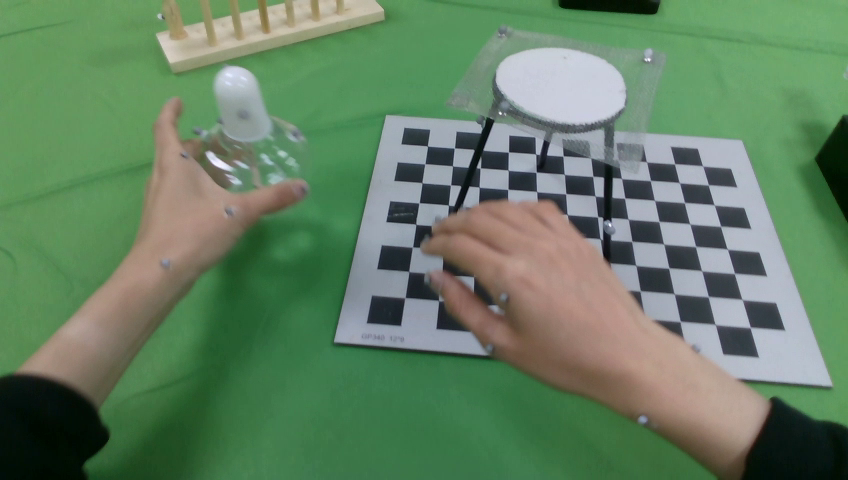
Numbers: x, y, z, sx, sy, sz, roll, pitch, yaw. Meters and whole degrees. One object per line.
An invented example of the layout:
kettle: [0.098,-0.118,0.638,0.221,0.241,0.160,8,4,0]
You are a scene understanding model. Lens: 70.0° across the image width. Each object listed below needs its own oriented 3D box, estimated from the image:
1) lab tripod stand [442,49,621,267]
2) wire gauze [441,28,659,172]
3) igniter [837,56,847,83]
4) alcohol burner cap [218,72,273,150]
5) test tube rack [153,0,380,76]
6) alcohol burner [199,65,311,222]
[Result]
lab tripod stand: [0.089,-0.060,0.451,0.148,0.132,0.147,2,49,-2]
wire gauze: [0.087,-0.102,0.398,0.124,0.011,0.121,19,50,12]
igniter: [0.395,-0.066,0.479,0.057,0.025,0.274,2,47,5]
alcohol burner cap: [-0.119,-0.086,0.396,0.034,0.048,0.033,1,52,-1]
test tube rack: [-0.172,-0.262,0.655,0.243,0.086,0.066,-22,54,-19]
alcohol burner: [-0.119,-0.068,0.420,0.078,0.120,0.077,2,54,-2]
